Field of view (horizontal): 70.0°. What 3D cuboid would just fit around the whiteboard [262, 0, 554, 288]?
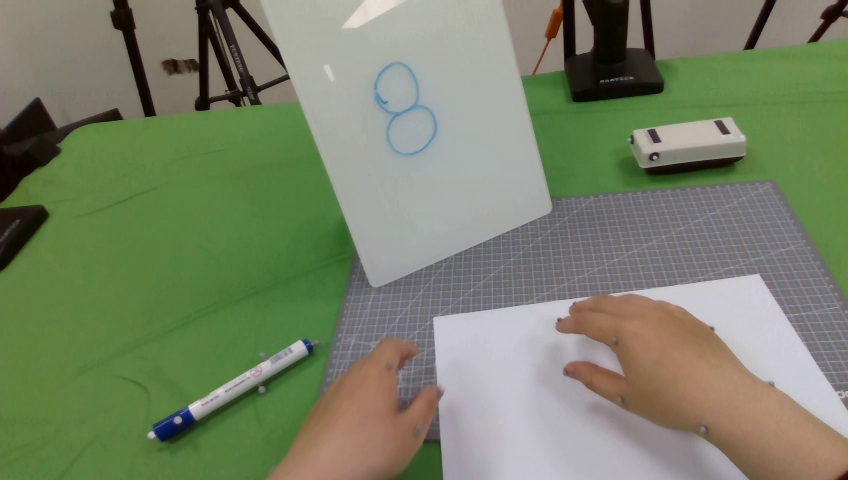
[{"bbox_3d":[-0.021,-0.146,0.638,0.217,0.307,0.142,-23,21,-12],"label":"whiteboard"}]

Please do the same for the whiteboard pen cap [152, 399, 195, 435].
[{"bbox_3d":[-0.210,0.148,0.512,0.033,0.018,0.018,-31,44,-22],"label":"whiteboard pen cap"}]

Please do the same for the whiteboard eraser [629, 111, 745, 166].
[{"bbox_3d":[0.293,-0.111,0.679,0.112,0.042,0.055,-6,43,6],"label":"whiteboard eraser"}]

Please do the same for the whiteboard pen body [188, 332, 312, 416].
[{"bbox_3d":[-0.163,0.122,0.534,0.141,0.017,0.017,-30,44,-22],"label":"whiteboard pen body"}]
